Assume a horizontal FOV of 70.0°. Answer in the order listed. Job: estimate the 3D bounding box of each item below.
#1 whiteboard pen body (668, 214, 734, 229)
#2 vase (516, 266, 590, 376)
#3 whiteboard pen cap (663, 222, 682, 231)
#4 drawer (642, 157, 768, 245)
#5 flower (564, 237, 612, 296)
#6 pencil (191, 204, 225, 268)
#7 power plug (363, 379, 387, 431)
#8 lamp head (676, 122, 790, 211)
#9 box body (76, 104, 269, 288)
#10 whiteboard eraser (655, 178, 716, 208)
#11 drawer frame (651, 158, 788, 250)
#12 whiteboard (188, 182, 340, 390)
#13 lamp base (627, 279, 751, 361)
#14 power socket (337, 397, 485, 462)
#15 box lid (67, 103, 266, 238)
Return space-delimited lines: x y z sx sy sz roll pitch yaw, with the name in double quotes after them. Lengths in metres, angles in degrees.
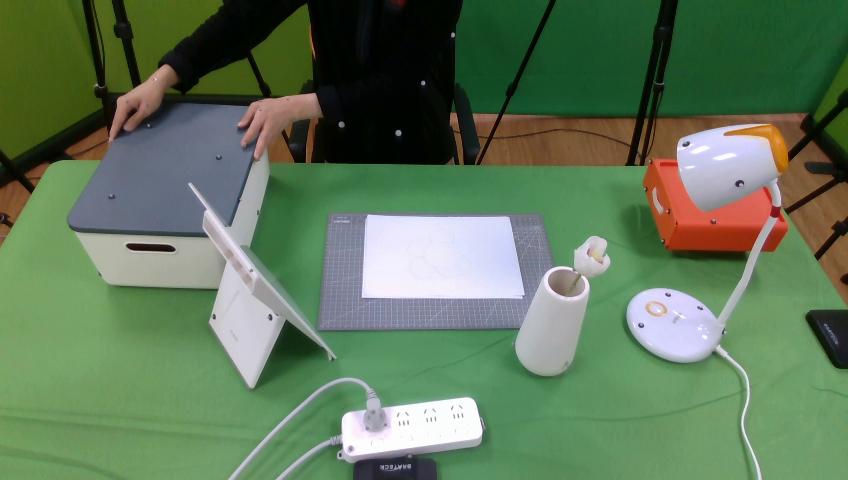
0.547 -0.035 1.200 0.141 0.017 0.017 -8 48 -9 "whiteboard pen body"
0.208 0.132 0.964 0.098 0.201 0.097 3 46 -3 "vase"
0.487 -0.027 1.188 0.033 0.018 0.018 0 46 -14 "whiteboard pen cap"
0.564 -0.075 1.210 0.212 0.073 0.193 3 45 -1 "drawer"
0.206 0.088 0.892 0.038 0.363 0.044 -16 67 -9 "flower"
-0.417 -0.013 1.182 0.012 0.012 0.193 5 40 0 "pencil"
-0.072 0.252 0.910 0.035 0.053 0.072 3 45 -1 "power plug"
0.423 -0.104 0.819 0.122 0.113 0.112 -13 33 40 "lamp head"
-0.450 -0.087 1.149 0.254 0.161 0.361 2 46 -2 "box body"
0.538 -0.095 1.251 0.113 0.042 0.055 4 52 -10 "whiteboard eraser"
0.571 -0.074 1.213 0.214 0.083 0.200 1 46 0 "drawer frame"
-0.292 0.096 0.929 0.144 0.307 0.216 -38 57 -10 "whiteboard"
0.459 0.100 1.027 0.178 0.181 0.160 27 51 17 "lamp base"
-0.018 0.285 0.915 0.227 0.033 0.071 -5 46 -8 "power socket"
-0.447 -0.137 1.094 0.263 0.015 0.369 2 45 -2 "box lid"
